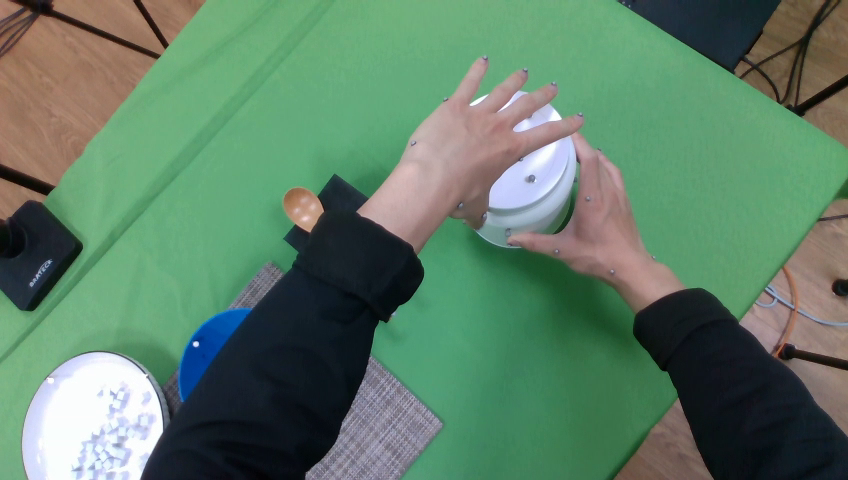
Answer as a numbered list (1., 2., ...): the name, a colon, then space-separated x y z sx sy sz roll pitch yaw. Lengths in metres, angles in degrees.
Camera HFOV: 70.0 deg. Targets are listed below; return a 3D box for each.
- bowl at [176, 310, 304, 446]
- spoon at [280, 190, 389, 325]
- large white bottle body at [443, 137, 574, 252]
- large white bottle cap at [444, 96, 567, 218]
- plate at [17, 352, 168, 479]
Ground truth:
1. bowl: -0.203 0.160 0.716 0.151 0.077 0.151 -2 80 10
2. spoon: -0.103 0.022 0.707 0.041 0.022 0.193 -37 81 -3
3. large white bottle body: 0.091 -0.063 0.647 0.130 0.185 0.130 -2 80 10
4. large white bottle cap: 0.075 -0.078 0.564 0.114 0.018 0.114 -2 80 10
5. plate: -0.410 0.246 0.762 0.209 0.038 0.208 -3 78 12
